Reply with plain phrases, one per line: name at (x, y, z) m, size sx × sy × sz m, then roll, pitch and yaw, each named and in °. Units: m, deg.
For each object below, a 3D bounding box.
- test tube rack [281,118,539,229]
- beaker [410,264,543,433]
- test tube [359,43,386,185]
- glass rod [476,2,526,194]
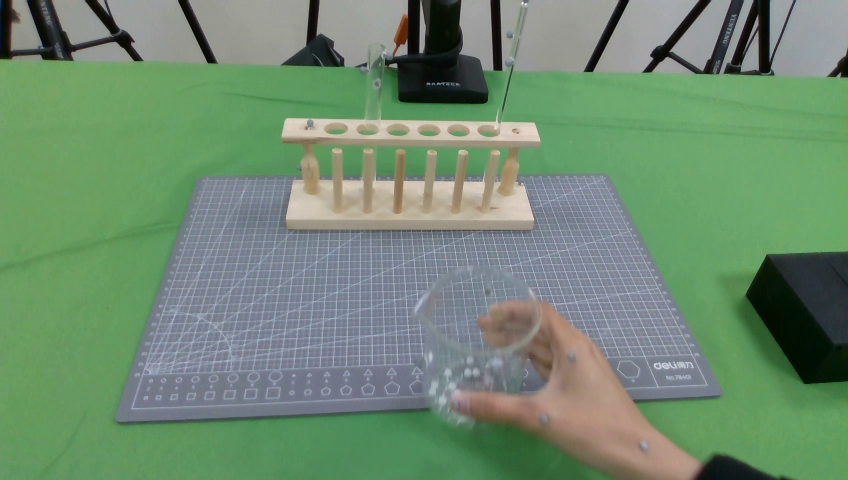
test tube rack at (-0.013, -0.064, 0.592) m, size 0.243 × 0.086 × 0.066 m, roll 0°, pitch 42°, yaw -4°
beaker at (0.031, 0.078, 0.411) m, size 0.084 × 0.101 × 0.073 m, roll -1°, pitch 44°, yaw -5°
test tube at (-0.050, -0.111, 0.568) m, size 0.017 × 0.151 × 0.017 m, roll 5°, pitch 43°, yaw -5°
glass rod at (0.068, -0.121, 0.562) m, size 0.008 × 0.201 × 0.008 m, roll 5°, pitch 43°, yaw -5°
